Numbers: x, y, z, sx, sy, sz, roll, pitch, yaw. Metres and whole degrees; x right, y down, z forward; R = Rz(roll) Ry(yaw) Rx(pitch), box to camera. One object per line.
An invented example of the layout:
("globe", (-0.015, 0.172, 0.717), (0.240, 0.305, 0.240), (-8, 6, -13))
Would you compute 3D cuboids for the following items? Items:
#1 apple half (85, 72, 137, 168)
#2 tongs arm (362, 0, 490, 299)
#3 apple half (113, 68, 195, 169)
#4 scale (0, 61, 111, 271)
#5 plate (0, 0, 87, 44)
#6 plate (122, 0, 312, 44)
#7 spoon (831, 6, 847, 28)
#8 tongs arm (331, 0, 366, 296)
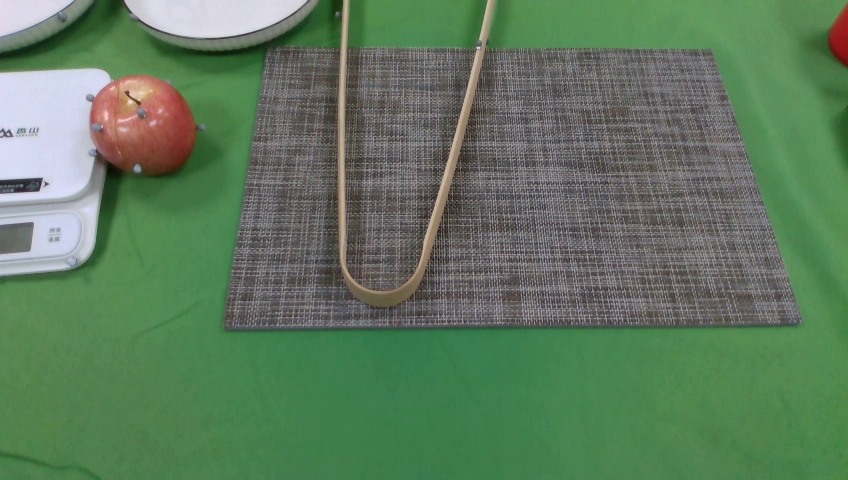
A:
("apple half", (-0.261, -0.095, 0.506), (0.033, 0.082, 0.080), (-8, 61, -9))
("tongs arm", (0.014, -0.122, 0.549), (0.051, 0.027, 0.382), (11, 62, 3))
("apple half", (-0.223, -0.101, 0.512), (0.053, 0.075, 0.080), (-8, 58, -9))
("scale", (-0.347, -0.068, 0.513), (0.149, 0.032, 0.199), (-5, 62, -4))
("plate", (-0.431, -0.269, 0.618), (0.208, 0.039, 0.206), (1, 61, -1))
("plate", (-0.206, -0.274, 0.627), (0.209, 0.038, 0.207), (1, 61, -1))
("spoon", (0.492, -0.232, 0.561), (0.022, 0.192, 0.041), (51, 57, -26))
("tongs arm", (-0.070, -0.129, 0.553), (0.028, 0.028, 0.384), (-1, 61, -6))
